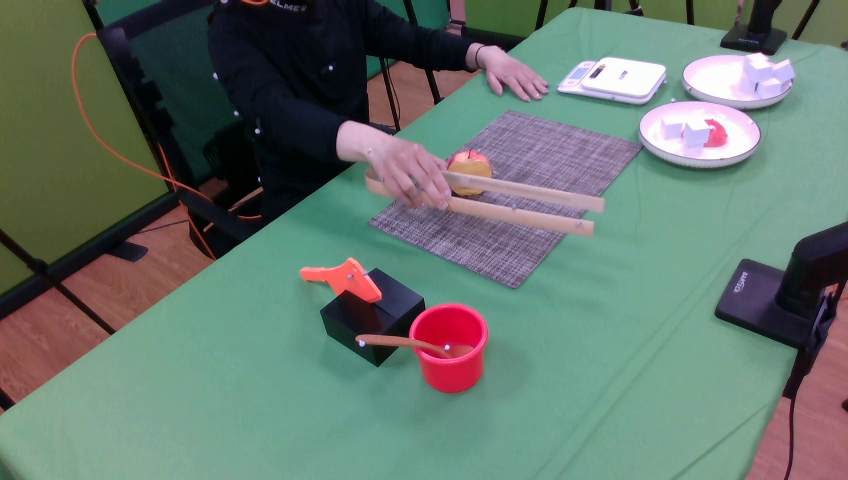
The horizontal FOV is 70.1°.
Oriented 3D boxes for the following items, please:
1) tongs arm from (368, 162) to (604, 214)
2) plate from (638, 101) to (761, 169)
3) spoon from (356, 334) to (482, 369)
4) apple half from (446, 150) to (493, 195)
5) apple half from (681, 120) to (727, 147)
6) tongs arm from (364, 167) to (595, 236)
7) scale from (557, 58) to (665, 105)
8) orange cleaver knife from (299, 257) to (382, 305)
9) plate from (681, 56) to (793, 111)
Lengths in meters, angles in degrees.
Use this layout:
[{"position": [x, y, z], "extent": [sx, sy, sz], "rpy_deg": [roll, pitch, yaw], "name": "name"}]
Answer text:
[{"position": [0.088, -0.084, 0.955], "extent": [0.385, 0.028, 0.028], "rpy_deg": [12, 47, 21], "name": "tongs arm"}, {"position": [0.500, -0.189, 1.111], "extent": [0.209, 0.038, 0.208], "rpy_deg": [-4, 41, 4], "name": "plate"}, {"position": [-0.002, 0.130, 0.731], "extent": [0.195, 0.021, 0.041], "rpy_deg": [21, 28, -39], "name": "spoon"}, {"position": [0.080, -0.124, 1.065], "extent": [0.081, 0.075, 0.053], "rpy_deg": [-7, 36, 7], "name": "apple half"}, {"position": [0.518, -0.202, 1.115], "extent": [0.081, 0.033, 0.081], "rpy_deg": [-1, 40, 2], "name": "apple half"}, {"position": [0.072, -0.063, 0.932], "extent": [0.383, 0.026, 0.051], "rpy_deg": [11, 44, 21], "name": "tongs arm"}, {"position": [0.406, -0.348, 1.314], "extent": [0.199, 0.032, 0.149], "rpy_deg": [19, 47, 28], "name": "scale"}, {"position": [-0.124, 0.062, 0.872], "extent": [0.012, 0.077, 0.210], "rpy_deg": [-38, 17, -30], "name": "orange cleaver knife"}, {"position": [0.636, -0.317, 1.239], "extent": [0.207, 0.039, 0.206], "rpy_deg": [-4, 40, 4], "name": "plate"}]
